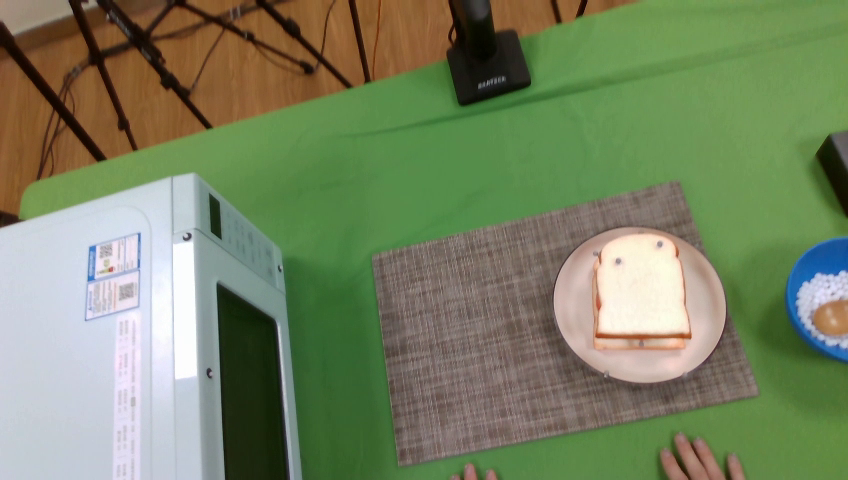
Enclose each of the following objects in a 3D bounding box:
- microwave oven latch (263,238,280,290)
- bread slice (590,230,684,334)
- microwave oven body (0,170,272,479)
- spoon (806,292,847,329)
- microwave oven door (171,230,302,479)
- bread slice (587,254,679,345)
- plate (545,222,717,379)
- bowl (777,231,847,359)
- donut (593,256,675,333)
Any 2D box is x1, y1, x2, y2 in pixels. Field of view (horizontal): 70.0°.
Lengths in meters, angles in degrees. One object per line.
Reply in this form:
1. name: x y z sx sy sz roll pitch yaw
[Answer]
1. microwave oven latch: -0.233 0.038 0.893 0.030 0.030 0.078 -15 66 6
2. bread slice: 0.251 0.049 0.729 0.104 0.019 0.130 -4 65 18
3. microwave oven body: -0.362 0.195 0.748 0.326 0.262 0.438 -15 66 6
4. spoon: 0.530 0.052 0.675 0.193 0.022 0.041 -28 58 24
5. microwave oven door: -0.215 0.191 0.710 0.039 0.246 0.352 -16 65 6
6. bread slice: 0.260 0.072 0.781 0.107 0.018 0.133 -5 66 10
7. plate: 0.262 0.078 0.778 0.207 0.039 0.206 -5 67 11
8. bowl: 0.488 0.073 0.710 0.151 0.077 0.150 -5 66 11
9. donut: 0.258 0.067 0.750 0.099 0.048 0.098 -3 70 8
